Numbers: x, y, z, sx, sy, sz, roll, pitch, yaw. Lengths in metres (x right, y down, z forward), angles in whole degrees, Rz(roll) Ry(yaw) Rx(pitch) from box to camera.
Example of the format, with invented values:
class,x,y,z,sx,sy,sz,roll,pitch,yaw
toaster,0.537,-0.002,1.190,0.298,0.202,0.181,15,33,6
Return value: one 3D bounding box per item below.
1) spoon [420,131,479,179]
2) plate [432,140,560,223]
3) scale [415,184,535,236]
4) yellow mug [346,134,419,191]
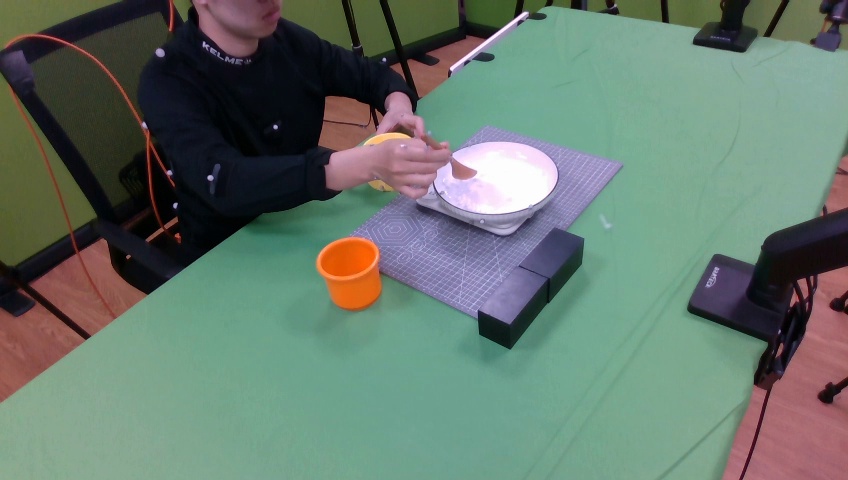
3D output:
class,x,y,z,sx,sy,sz,roll,pitch,yaw
spoon,0.036,-0.128,0.924,0.041,0.195,0.021,-13,69,23
plate,0.118,-0.094,0.999,0.209,0.038,0.208,-5,41,4
scale,0.099,-0.079,1.035,0.199,0.032,0.149,23,48,31
yellow mug,-0.079,-0.142,1.115,0.131,0.064,0.099,-6,39,2
